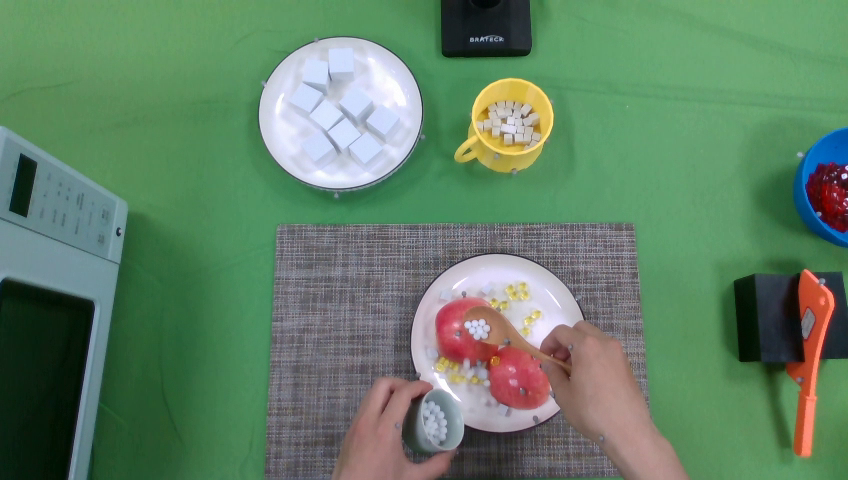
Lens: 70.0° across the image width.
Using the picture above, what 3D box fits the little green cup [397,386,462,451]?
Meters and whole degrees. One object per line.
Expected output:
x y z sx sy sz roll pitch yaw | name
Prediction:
0.004 0.185 0.620 0.062 0.038 0.061 24 46 -27 | little green cup

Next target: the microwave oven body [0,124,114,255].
-0.538 0.123 0.594 0.326 0.261 0.439 3 78 0 | microwave oven body

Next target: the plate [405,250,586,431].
0.082 0.116 0.713 0.209 0.038 0.208 0 79 0 | plate

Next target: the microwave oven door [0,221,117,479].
-0.395 0.172 0.580 0.039 0.245 0.354 3 78 1 | microwave oven door

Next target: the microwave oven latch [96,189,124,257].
-0.381 -0.020 0.725 0.030 0.029 0.079 5 79 0 | microwave oven latch

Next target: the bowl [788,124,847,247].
0.506 -0.057 0.736 0.151 0.077 0.150 0 78 0 | bowl

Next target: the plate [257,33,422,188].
-0.106 -0.162 0.776 0.208 0.039 0.206 0 78 0 | plate

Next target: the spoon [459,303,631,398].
0.119 0.116 0.624 0.192 0.022 0.042 26 107 31 | spoon

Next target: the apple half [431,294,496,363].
0.045 0.101 0.701 0.074 0.053 0.080 -2 78 2 | apple half

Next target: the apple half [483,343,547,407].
0.107 0.155 0.700 0.081 0.033 0.081 0 75 1 | apple half

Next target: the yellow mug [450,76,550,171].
0.089 -0.136 0.757 0.131 0.064 0.099 -31 79 -6 | yellow mug

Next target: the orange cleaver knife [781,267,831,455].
0.429 0.138 0.692 0.012 0.077 0.212 1 101 4 | orange cleaver knife
